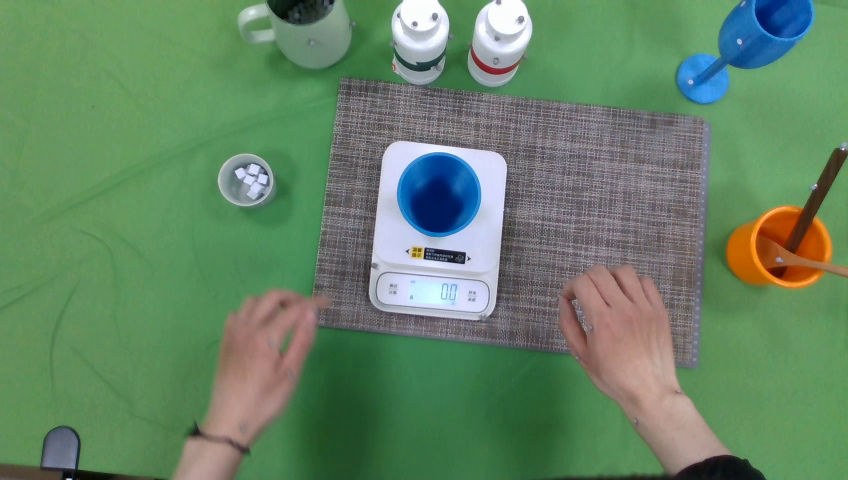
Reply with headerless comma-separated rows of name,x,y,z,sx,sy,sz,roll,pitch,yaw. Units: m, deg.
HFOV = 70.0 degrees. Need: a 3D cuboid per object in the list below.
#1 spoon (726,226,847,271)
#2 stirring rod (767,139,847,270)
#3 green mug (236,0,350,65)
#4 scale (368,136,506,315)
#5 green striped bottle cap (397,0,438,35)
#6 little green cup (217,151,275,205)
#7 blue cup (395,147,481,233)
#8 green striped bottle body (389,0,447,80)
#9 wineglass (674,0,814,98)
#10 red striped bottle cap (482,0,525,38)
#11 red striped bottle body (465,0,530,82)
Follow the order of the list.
spoon,0.430,0.021,0.659,0.022,0.192,0.041,19,91,-43
stirring rod,0.416,-0.033,0.664,0.014,0.177,0.006,14,43,13
green mug,-0.151,-0.255,0.693,0.125,0.105,0.092,-16,85,-3
scale,0.016,-0.017,0.705,0.149,0.031,0.200,5,84,-1
green striped bottle cap,-0.007,-0.240,0.635,0.044,0.020,0.044,0,83,-2
little green cup,-0.204,-0.069,0.704,0.061,0.038,0.061,0,84,-3
blue cup,0.013,-0.046,0.643,0.093,0.100,0.092,0,86,-1
green striped bottle body,-0.007,-0.233,0.687,0.063,0.119,0.063,0,83,-1
wineglass,0.344,-0.218,0.669,0.074,0.172,0.073,0,83,-1
red striped bottle cap,0.084,-0.237,0.637,0.044,0.018,0.044,1,82,-5
red striped bottle body,0.083,-0.231,0.689,0.063,0.120,0.063,0,83,-2
